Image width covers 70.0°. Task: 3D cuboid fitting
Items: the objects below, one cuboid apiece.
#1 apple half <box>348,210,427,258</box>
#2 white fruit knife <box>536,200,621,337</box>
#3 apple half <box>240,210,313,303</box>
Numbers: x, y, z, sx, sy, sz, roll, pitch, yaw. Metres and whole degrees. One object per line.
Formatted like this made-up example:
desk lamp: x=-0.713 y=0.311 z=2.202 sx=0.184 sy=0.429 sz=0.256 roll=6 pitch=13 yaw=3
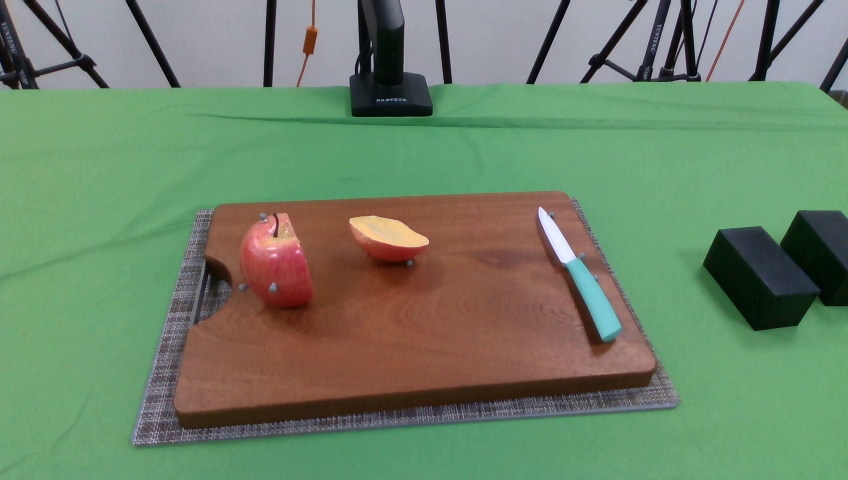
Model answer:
apple half: x=-0.041 y=-0.001 z=0.595 sx=0.081 sy=0.033 sz=0.081 roll=17 pitch=19 yaw=-6
white fruit knife: x=0.148 y=0.019 z=0.605 sx=0.027 sy=0.016 sz=0.205 roll=7 pitch=37 yaw=-18
apple half: x=-0.135 y=0.019 z=0.541 sx=0.053 sy=0.075 sz=0.080 roll=-18 pitch=49 yaw=-17
